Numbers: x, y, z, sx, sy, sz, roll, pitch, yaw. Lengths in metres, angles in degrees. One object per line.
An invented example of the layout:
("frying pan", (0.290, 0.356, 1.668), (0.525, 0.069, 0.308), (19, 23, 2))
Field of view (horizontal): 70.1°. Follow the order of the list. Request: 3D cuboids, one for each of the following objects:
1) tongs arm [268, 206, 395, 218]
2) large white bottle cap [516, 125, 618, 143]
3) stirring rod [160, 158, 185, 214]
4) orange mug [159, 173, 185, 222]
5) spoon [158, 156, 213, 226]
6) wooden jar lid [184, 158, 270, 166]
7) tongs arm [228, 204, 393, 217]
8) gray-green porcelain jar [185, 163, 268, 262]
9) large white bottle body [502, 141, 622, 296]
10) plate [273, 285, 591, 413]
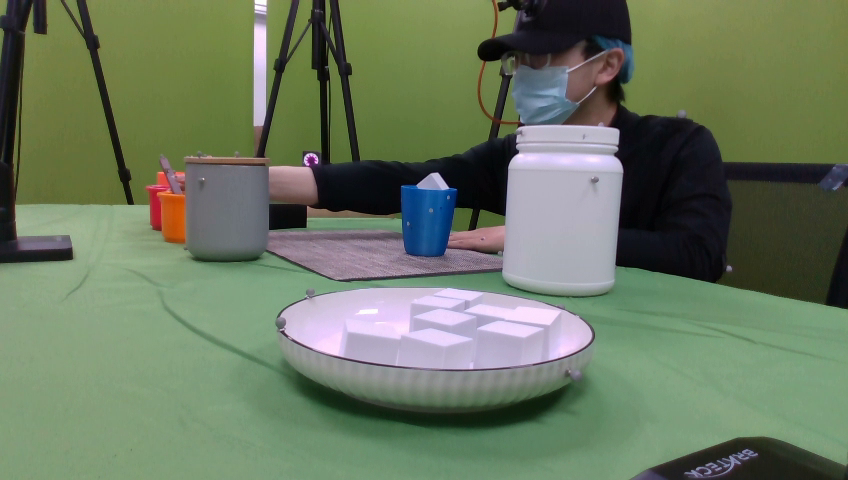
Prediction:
("tongs arm", (-0.230, -0.064, 1.379), (0.387, 0.026, 0.050), (-1, 3, -31))
("large white bottle cap", (0.163, -0.120, 0.695), (0.115, 0.018, 0.115), (2, 8, 0))
("stirring rod", (-0.391, -0.069, 0.973), (0.014, 0.006, 0.175), (-4, 52, -48))
("orange mug", (-0.477, -0.089, 1.241), (0.127, 0.101, 0.083), (-7, 11, -33))
("spoon", (-0.435, -0.094, 1.121), (0.041, 0.022, 0.193), (5, 51, 13))
("wooden jar lid", (-0.260, -0.099, 0.801), (0.108, 0.020, 0.108), (0, 9, 0))
("tongs arm", (-0.267, -0.070, 1.452), (0.389, 0.027, 0.028), (0, -1, -18))
("gray-green porcelain jar", (-0.263, -0.038, 0.808), (0.106, 0.126, 0.106), (3, 8, 0))
("large white bottle body", (0.160, -0.037, 0.706), (0.131, 0.184, 0.130), (2, 7, 0))
("plate", (0.004, 0.069, 0.407), (0.208, 0.039, 0.207), (2, 7, 0))
